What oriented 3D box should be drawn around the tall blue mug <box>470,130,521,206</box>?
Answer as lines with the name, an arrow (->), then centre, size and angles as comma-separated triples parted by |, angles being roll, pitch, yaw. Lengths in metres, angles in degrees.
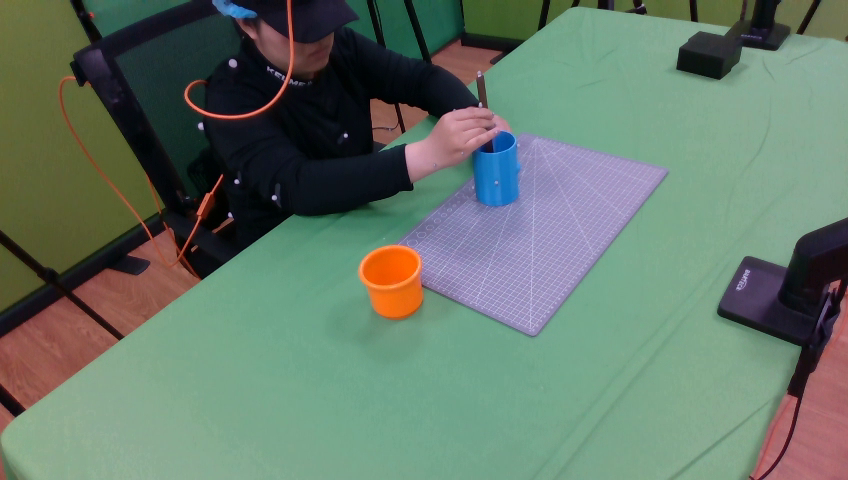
tall blue mug -> 0.118, -0.132, 1.046 | 0.078, 0.108, 0.106 | -20, 41, -10

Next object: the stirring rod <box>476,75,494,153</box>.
stirring rod -> 0.103, -0.193, 1.000 | 0.014, 0.177, 0.005 | -35, 46, -21
